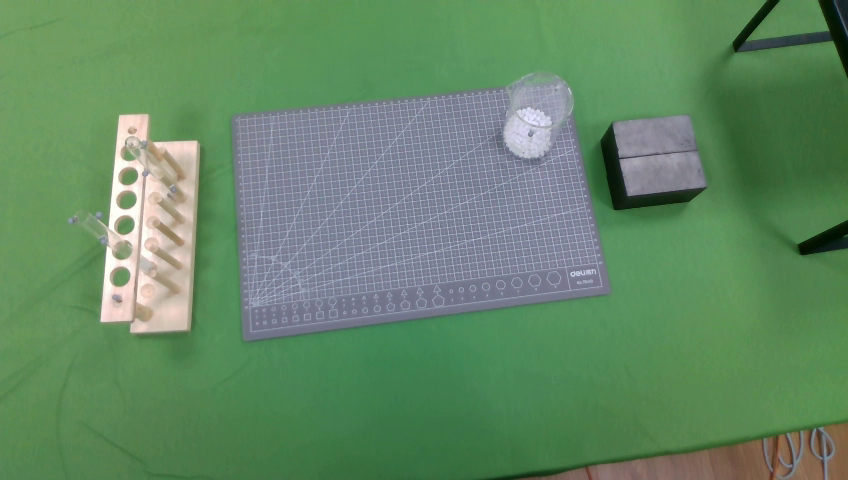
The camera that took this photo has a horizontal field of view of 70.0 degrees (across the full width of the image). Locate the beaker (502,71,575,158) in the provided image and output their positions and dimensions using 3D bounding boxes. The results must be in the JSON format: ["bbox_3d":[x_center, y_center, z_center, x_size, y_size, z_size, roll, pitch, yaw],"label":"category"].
[{"bbox_3d":[0.135,-0.152,0.755,0.084,0.101,0.073,24,74,7],"label":"beaker"}]

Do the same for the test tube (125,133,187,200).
[{"bbox_3d":[-0.300,-0.080,0.683,0.017,0.151,0.017,1,72,-2],"label":"test tube"}]

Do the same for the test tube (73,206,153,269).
[{"bbox_3d":[-0.331,0.001,0.655,0.017,0.151,0.017,0,68,1],"label":"test tube"}]

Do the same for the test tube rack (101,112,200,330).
[{"bbox_3d":[-0.316,-0.022,0.713,0.067,0.085,0.241,-2,74,-3],"label":"test tube rack"}]
